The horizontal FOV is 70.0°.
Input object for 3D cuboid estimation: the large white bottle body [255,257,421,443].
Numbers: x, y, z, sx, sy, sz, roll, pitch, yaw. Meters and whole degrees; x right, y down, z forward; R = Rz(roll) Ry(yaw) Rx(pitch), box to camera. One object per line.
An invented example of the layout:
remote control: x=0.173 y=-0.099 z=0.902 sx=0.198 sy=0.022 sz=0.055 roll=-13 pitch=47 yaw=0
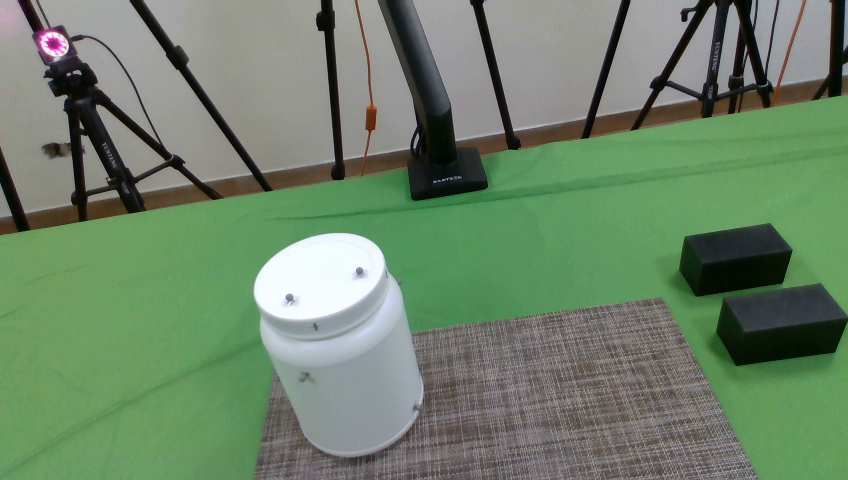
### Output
large white bottle body: x=-0.079 y=0.089 z=0.577 sx=0.130 sy=0.186 sz=0.129 roll=-6 pitch=39 yaw=6

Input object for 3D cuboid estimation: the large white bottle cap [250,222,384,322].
large white bottle cap: x=-0.092 y=0.025 z=0.524 sx=0.115 sy=0.018 sz=0.113 roll=-6 pitch=38 yaw=5
